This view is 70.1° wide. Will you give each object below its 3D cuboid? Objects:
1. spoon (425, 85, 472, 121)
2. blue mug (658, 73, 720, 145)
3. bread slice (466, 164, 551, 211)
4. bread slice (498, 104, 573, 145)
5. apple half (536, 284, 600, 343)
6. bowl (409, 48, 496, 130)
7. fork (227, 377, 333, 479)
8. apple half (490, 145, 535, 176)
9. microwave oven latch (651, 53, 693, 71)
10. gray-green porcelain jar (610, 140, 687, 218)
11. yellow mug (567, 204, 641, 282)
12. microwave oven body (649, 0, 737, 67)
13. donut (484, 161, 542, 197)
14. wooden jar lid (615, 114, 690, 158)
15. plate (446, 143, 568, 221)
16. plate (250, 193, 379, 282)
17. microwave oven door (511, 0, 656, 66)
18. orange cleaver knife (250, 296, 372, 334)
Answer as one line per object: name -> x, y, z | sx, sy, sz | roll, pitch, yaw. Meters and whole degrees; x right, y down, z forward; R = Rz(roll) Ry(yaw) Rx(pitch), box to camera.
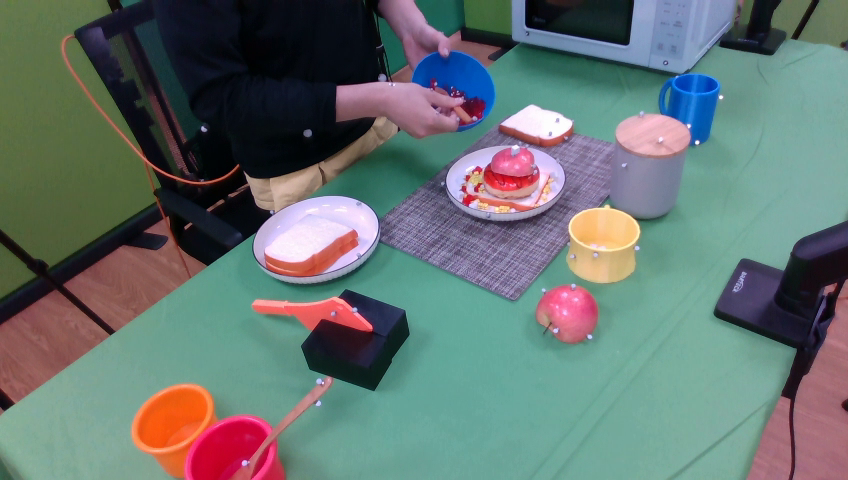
spoon -> 0.041, -0.228, 0.997 | 0.042, 0.022, 0.192 | -8, 26, -13
blue mug -> 0.483, -0.250, 1.127 | 0.082, 0.106, 0.115 | -26, 44, -19
bread slice -> 0.140, -0.091, 1.043 | 0.133, 0.018, 0.107 | 12, 44, 19
bread slice -> 0.231, -0.231, 1.205 | 0.105, 0.019, 0.130 | -36, 47, -28
apple half -> 0.196, 0.091, 0.815 | 0.075, 0.053, 0.080 | -22, 42, -20
bowl -> 0.043, -0.251, 1.064 | 0.152, 0.077, 0.151 | 3, 72, -10
fork -> -0.163, 0.216, 0.647 | 0.207, 0.019, 0.028 | -49, 41, 16
apple half -> 0.147, -0.138, 0.994 | 0.081, 0.033, 0.081 | 1, 37, -1
microwave oven latch -> 0.532, -0.386, 1.301 | 0.078, 0.029, 0.030 | 27, 52, 34
gray-green porcelain jar -> 0.354, -0.106, 0.964 | 0.106, 0.127, 0.105 | -4, 41, 4
yellow mug -> 0.268, -0.005, 0.905 | 0.099, 0.064, 0.130 | 6, 42, 16
microwave oven body -> 0.475, -0.602, 1.411 | 0.438, 0.261, 0.327 | 23, 50, 32
donut -> 0.149, -0.109, 1.016 | 0.099, 0.048, 0.098 | -4, 40, 4
wooden jar lid -> 0.347, -0.155, 0.923 | 0.108, 0.021, 0.108 | -3, 44, 4
plate -> 0.142, -0.097, 1.045 | 0.207, 0.039, 0.206 | -4, 40, 4
plate -> -0.174, -0.001, 0.984 | 0.209, 0.038, 0.208 | -3, 40, 3
microwave oven door -> 0.350, -0.539, 1.348 | 0.353, 0.245, 0.039 | 24, 50, 31
orange cleaver knife -> -0.159, 0.103, 0.828 | 0.210, 0.078, 0.012 | -4, 43, 39
